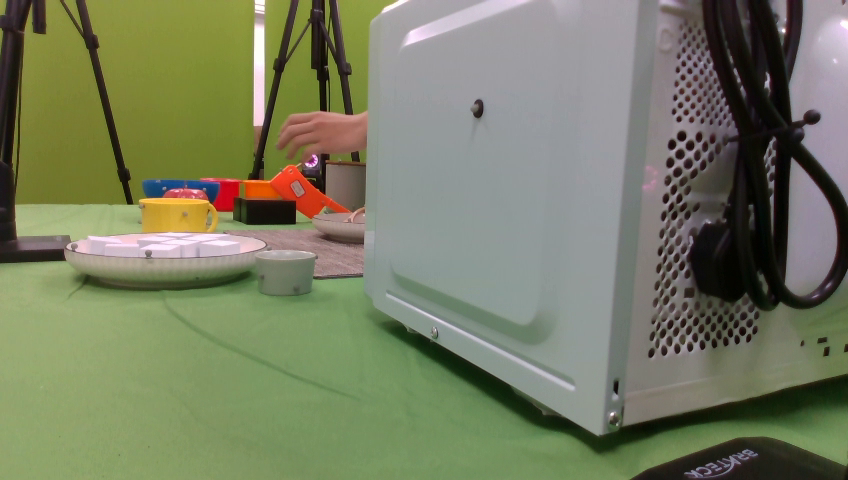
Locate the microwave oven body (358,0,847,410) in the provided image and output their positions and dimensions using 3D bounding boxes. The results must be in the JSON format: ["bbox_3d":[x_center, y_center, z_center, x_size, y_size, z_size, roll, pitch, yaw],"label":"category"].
[{"bbox_3d":[0.210,-0.051,0.471,0.444,0.260,0.324,-1,7,-28],"label":"microwave oven body"}]

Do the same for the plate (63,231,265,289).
[{"bbox_3d":[-0.288,0.021,0.687,0.208,0.039,0.207,2,8,0],"label":"plate"}]

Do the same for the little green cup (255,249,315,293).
[{"bbox_3d":[-0.144,0.032,0.627,0.061,0.038,0.061,2,6,0],"label":"little green cup"}]

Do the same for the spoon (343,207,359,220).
[{"bbox_3d":[-0.126,-0.047,1.117,0.041,0.021,0.194,-1,18,14],"label":"spoon"}]

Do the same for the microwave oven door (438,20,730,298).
[{"bbox_3d":[0.181,-0.076,0.618,0.358,0.243,0.039,-2,8,-28],"label":"microwave oven door"}]

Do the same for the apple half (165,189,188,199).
[{"bbox_3d":[-0.441,-0.055,1.097,0.053,0.074,0.081,0,10,12],"label":"apple half"}]

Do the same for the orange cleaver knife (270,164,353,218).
[{"bbox_3d":[-0.240,-0.088,1.329,0.212,0.077,0.012,36,-9,-33],"label":"orange cleaver knife"}]

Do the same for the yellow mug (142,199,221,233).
[{"bbox_3d":[-0.372,-0.030,0.948,0.099,0.064,0.131,6,7,30],"label":"yellow mug"}]

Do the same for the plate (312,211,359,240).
[{"bbox_3d":[-0.091,-0.026,1.063,0.209,0.038,0.209,2,7,0],"label":"plate"}]

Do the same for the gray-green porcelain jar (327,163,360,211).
[{"bbox_3d":[-0.187,-0.125,1.490,0.106,0.126,0.106,2,7,0],"label":"gray-green porcelain jar"}]

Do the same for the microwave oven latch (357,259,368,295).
[{"bbox_3d":[-0.019,0.031,0.529,0.079,0.029,0.030,-1,7,-26],"label":"microwave oven latch"}]

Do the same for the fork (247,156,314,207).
[{"bbox_3d":[-0.360,-0.147,1.522,0.207,0.018,0.028,-43,14,-7],"label":"fork"}]

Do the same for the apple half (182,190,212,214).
[{"bbox_3d":[-0.402,-0.054,1.090,0.033,0.081,0.081,1,7,12],"label":"apple half"}]

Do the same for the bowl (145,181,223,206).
[{"bbox_3d":[-0.499,-0.081,1.261,0.151,0.077,0.151,2,8,0],"label":"bowl"}]

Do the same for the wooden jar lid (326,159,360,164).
[{"bbox_3d":[-0.185,-0.187,1.481,0.108,0.020,0.108,4,6,0],"label":"wooden jar lid"}]
